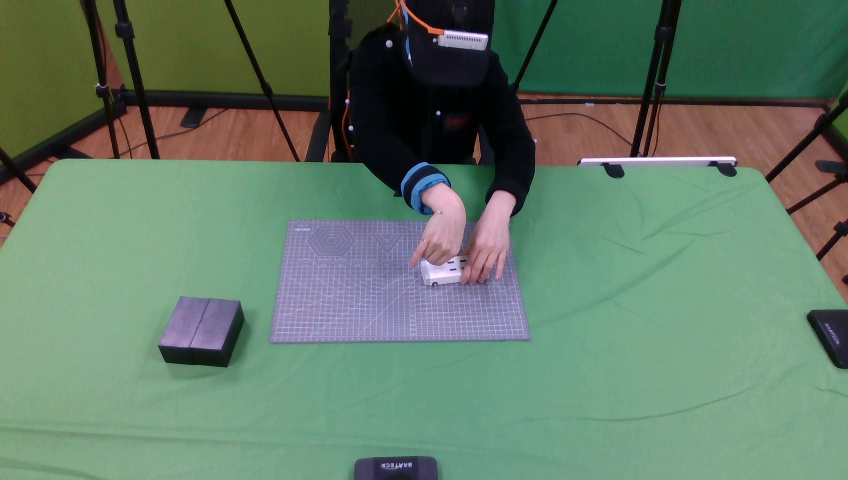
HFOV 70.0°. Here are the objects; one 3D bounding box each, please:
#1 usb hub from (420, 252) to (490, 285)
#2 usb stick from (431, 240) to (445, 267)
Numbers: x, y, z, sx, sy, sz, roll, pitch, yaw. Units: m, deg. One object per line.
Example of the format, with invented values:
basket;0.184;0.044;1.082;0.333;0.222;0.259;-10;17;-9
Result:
usb hub;0.059;0.055;1.142;0.125;0.025;0.049;-7;48;-10
usb stick;0.026;0.030;1.117;0.021;0.059;0.027;-12;45;-7
